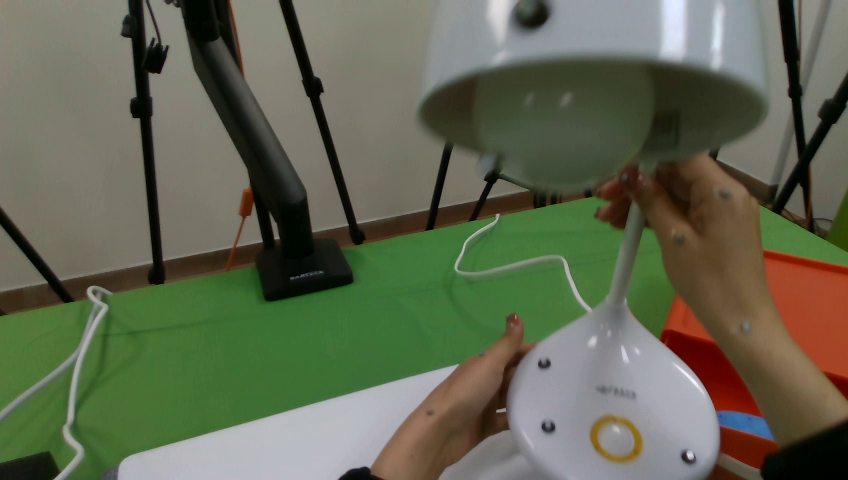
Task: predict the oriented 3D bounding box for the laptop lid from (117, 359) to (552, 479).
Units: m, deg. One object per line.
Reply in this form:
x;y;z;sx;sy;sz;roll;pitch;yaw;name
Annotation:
-0.070;0.218;0.506;0.358;0.013;0.239;-11;34;-16;laptop lid

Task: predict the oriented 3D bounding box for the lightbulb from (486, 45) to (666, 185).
0.054;-0.072;0.210;0.059;0.107;0.060;8;-8;2;lightbulb

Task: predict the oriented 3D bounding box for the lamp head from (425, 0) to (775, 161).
0.062;-0.096;0.213;0.112;0.122;0.113;7;-11;2;lamp head

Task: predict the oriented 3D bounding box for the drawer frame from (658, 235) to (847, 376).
0.375;0.093;0.661;0.200;0.083;0.213;13;33;25;drawer frame

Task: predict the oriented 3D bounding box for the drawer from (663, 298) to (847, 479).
0.323;0.145;0.579;0.193;0.074;0.211;13;33;25;drawer

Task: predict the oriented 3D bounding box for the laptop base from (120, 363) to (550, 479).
-0.071;0.227;0.514;0.355;0.023;0.233;-12;35;-17;laptop base

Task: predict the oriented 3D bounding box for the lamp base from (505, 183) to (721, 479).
0.142;0.063;0.432;0.160;0.182;0.177;1;36;4;lamp base

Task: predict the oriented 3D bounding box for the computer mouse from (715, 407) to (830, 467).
0.300;0.186;0.536;0.116;0.041;0.062;14;31;16;computer mouse
